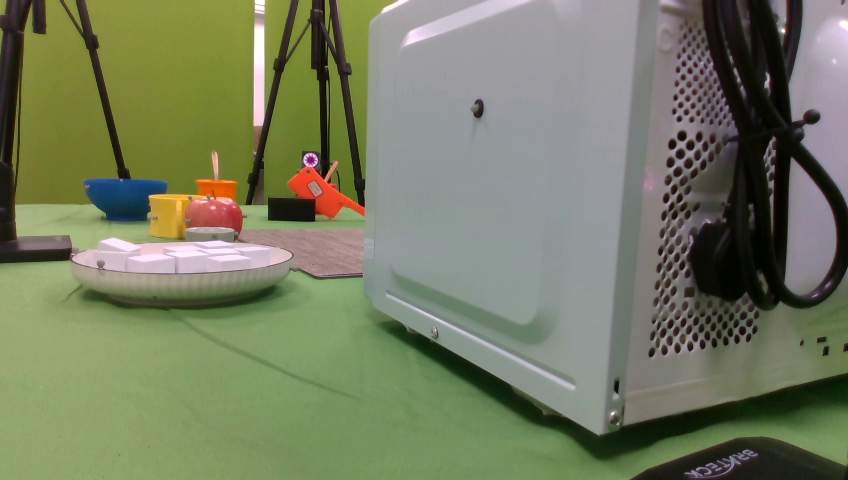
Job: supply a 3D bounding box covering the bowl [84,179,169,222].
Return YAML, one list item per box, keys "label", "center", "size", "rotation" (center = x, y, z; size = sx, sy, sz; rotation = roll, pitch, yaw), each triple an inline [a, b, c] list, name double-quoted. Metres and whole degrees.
- label: "bowl"
  center: [-0.584, -0.078, 1.194]
  size: [0.151, 0.077, 0.151]
  rotation: [3, 8, 0]

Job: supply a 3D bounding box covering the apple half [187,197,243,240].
- label: "apple half"
  center: [-0.305, -0.026, 0.907]
  size: [0.053, 0.074, 0.081]
  rotation: [13, 8, 31]

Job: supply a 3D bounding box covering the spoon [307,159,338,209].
- label: "spoon"
  center: [-0.257, -0.147, 1.567]
  size: [0.041, 0.022, 0.193]
  rotation: [2, 50, 19]

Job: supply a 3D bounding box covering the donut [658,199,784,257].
- label: "donut"
  center: [0.252, -0.010, 0.517]
  size: [0.099, 0.048, 0.099]
  rotation: [3, 5, 0]

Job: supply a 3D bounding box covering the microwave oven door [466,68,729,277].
- label: "microwave oven door"
  center: [0.207, -0.096, 0.814]
  size: [0.354, 0.243, 0.039]
  rotation: [9, 11, 42]

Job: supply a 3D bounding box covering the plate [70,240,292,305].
- label: "plate"
  center: [-0.242, 0.031, 0.618]
  size: [0.208, 0.039, 0.207]
  rotation: [2, 8, 0]

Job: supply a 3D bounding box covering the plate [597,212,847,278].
- label: "plate"
  center: [0.255, 0.002, 0.519]
  size: [0.209, 0.038, 0.209]
  rotation: [2, 7, 0]

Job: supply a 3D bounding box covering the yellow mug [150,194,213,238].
- label: "yellow mug"
  center: [-0.401, -0.040, 1.003]
  size: [0.100, 0.064, 0.130]
  rotation: [-1, 9, -20]

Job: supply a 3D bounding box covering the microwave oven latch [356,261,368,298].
- label: "microwave oven latch"
  center: [-0.020, 0.033, 0.530]
  size: [0.079, 0.029, 0.030]
  rotation: [0, 7, -26]

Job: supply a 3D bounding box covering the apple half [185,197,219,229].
- label: "apple half"
  center: [-0.338, -0.031, 0.927]
  size: [0.032, 0.081, 0.081]
  rotation: [12, 12, 31]

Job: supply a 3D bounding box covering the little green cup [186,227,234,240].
- label: "little green cup"
  center: [-0.284, 0.005, 0.805]
  size: [0.061, 0.038, 0.061]
  rotation: [2, 8, 0]

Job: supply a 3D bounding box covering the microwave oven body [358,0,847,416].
- label: "microwave oven body"
  center: [0.211, -0.047, 0.475]
  size: [0.444, 0.260, 0.324]
  rotation: [-1, 7, -28]

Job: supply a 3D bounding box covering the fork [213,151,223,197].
- label: "fork"
  center: [-0.493, -0.143, 1.442]
  size: [0.028, 0.018, 0.206]
  rotation: [-4, 53, -18]

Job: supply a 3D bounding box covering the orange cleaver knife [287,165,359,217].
- label: "orange cleaver knife"
  center: [-0.211, -0.093, 1.382]
  size: [0.212, 0.077, 0.012]
  rotation: [33, 1, -15]
